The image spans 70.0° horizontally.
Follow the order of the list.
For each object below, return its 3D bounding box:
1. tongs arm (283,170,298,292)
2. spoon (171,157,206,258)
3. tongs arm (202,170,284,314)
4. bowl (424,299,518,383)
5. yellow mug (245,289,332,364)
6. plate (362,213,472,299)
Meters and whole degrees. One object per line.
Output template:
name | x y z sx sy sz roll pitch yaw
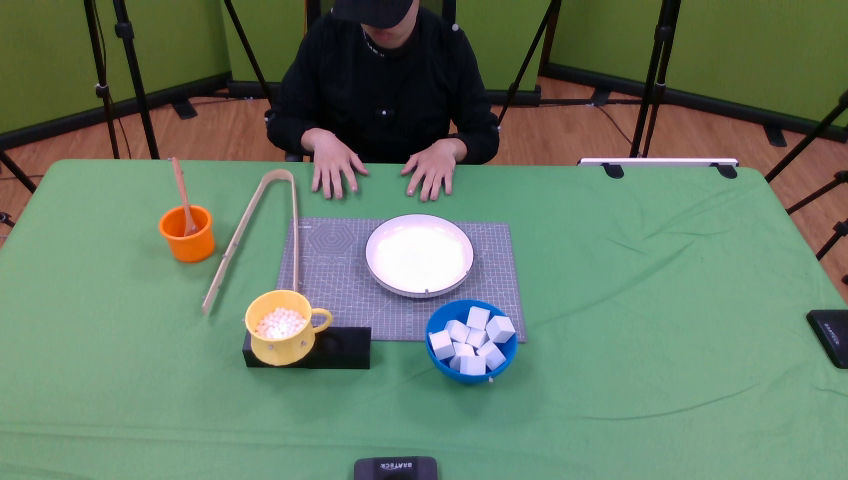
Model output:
tongs arm | -0.259 -0.008 1.177 0.028 0.028 0.385 -8 46 -5
spoon | -0.444 -0.061 1.133 0.042 0.193 0.021 -12 4 -20
tongs arm | -0.342 -0.011 1.172 0.051 0.026 0.382 4 44 2
bowl | 0.072 0.179 0.993 0.151 0.077 0.150 3 46 -3
yellow mug | -0.210 0.133 0.954 0.131 0.064 0.099 -9 48 -14
plate | -0.014 0.034 1.150 0.208 0.039 0.206 3 46 -2
